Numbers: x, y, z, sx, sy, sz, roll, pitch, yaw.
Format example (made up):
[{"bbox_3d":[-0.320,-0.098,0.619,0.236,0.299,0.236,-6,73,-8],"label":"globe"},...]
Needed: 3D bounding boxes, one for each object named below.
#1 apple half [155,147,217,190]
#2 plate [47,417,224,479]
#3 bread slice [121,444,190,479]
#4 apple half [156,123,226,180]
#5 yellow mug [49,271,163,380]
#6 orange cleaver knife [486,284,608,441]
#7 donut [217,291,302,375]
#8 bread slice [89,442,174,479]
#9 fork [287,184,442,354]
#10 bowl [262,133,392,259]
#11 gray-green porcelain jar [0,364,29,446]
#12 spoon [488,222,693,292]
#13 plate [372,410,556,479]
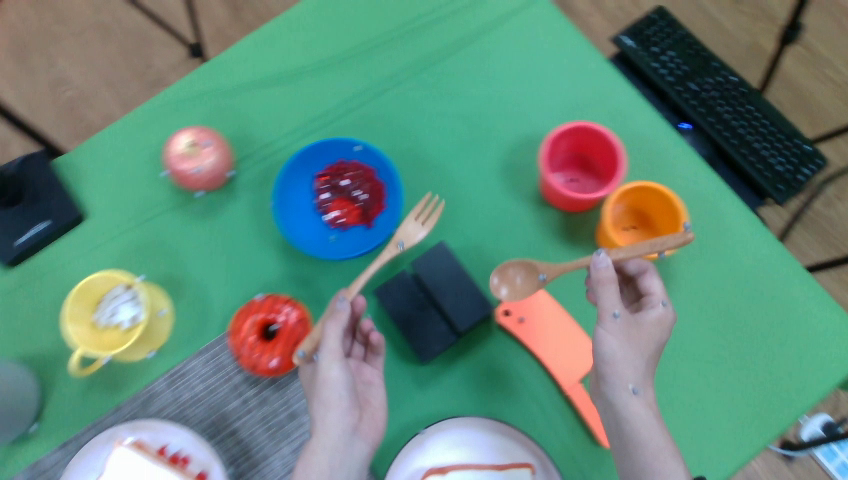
[{"bbox_3d":[-0.295,-0.079,0.745,0.081,0.082,0.032,19,72,7],"label":"apple half"},{"bbox_3d":[-0.314,0.301,0.662,0.207,0.039,0.206,0,75,2],"label":"plate"},{"bbox_3d":[-0.321,0.308,0.663,0.104,0.019,0.131,25,76,8],"label":"bread slice"},{"bbox_3d":[-0.283,-0.114,0.755,0.080,0.075,0.053,18,71,11],"label":"apple half"},{"bbox_3d":[-0.377,0.105,0.705,0.099,0.064,0.130,29,79,9],"label":"yellow mug"},{"bbox_3d":[0.154,0.131,0.705,0.077,0.012,0.210,-34,75,-13],"label":"orange cleaver knife"},{"bbox_3d":[-0.191,0.108,0.705,0.099,0.048,0.098,0,76,2],"label":"donut"},{"bbox_3d":[-0.323,0.298,0.637,0.106,0.018,0.134,21,76,10],"label":"bread slice"},{"bbox_3d":[-0.054,0.025,0.563,0.028,0.019,0.207,37,71,17],"label":"fork"},{"bbox_3d":[-0.109,-0.043,0.728,0.151,0.077,0.150,0,76,2],"label":"bowl"},{"bbox_3d":[-0.513,0.182,0.659,0.106,0.127,0.105,0,75,2],"label":"gray-green porcelain jar"},{"bbox_3d":[0.142,0.014,0.546,0.193,0.022,0.041,-17,76,39],"label":"spoon"},{"bbox_3d":[0.044,0.291,0.656,0.209,0.038,0.208,-1,76,3],"label":"plate"}]
